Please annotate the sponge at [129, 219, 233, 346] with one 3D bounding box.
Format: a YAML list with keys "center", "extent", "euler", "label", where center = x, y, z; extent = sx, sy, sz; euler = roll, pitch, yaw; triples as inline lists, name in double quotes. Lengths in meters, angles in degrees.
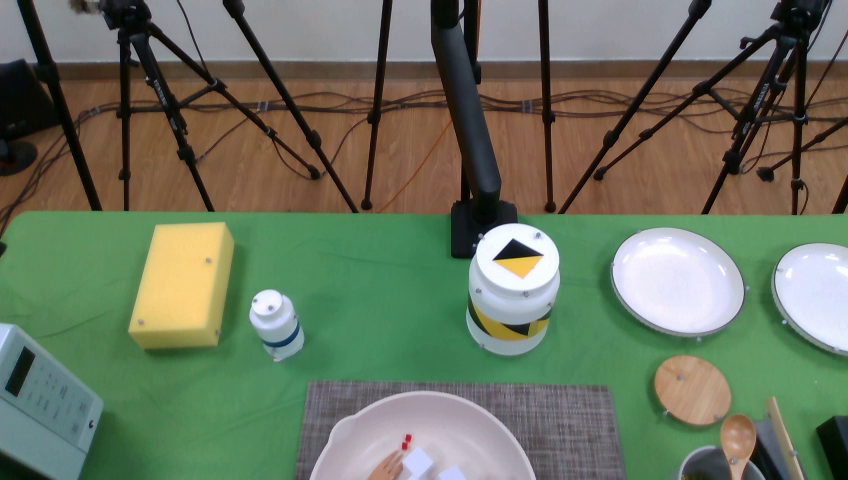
- center: [-0.391, 0.066, 0.991]
  extent: [0.118, 0.061, 0.204]
  euler: [-3, 55, -2]
  label: "sponge"

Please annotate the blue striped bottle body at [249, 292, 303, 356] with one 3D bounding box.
- center: [-0.223, 0.121, 0.912]
  extent: [0.063, 0.122, 0.062]
  euler: [-1, 54, 1]
  label: "blue striped bottle body"

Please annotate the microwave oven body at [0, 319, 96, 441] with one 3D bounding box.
- center: [-0.636, 0.332, 0.677]
  extent: [0.326, 0.262, 0.437]
  euler: [1, 55, 2]
  label: "microwave oven body"

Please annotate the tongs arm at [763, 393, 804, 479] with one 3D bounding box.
- center: [0.496, 0.374, 0.724]
  extent: [0.051, 0.027, 0.381]
  euler: [-4, 66, -6]
  label: "tongs arm"

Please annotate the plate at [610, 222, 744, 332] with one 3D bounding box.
- center: [0.409, 0.063, 0.993]
  extent: [0.208, 0.039, 0.205]
  euler: [-1, 54, 1]
  label: "plate"

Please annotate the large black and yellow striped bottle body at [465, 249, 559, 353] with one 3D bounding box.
- center: [0.128, 0.073, 0.902]
  extent: [0.131, 0.185, 0.129]
  euler: [-1, 54, 1]
  label: "large black and yellow striped bottle body"

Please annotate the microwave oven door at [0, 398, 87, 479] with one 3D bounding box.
- center: [-0.492, 0.366, 0.643]
  extent: [0.039, 0.246, 0.352]
  euler: [1, 54, 2]
  label: "microwave oven door"

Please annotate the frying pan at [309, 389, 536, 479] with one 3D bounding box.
- center: [-0.072, 0.393, 0.719]
  extent: [0.304, 0.103, 0.487]
  euler: [36, 54, 25]
  label: "frying pan"

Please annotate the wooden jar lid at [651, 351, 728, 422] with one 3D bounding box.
- center: [0.390, 0.217, 0.893]
  extent: [0.108, 0.021, 0.107]
  euler: [-1, 56, 1]
  label: "wooden jar lid"

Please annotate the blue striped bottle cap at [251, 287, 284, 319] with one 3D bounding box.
- center: [-0.225, 0.090, 0.871]
  extent: [0.044, 0.021, 0.044]
  euler: [0, 56, 1]
  label: "blue striped bottle cap"

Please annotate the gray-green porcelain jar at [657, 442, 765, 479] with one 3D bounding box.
- center: [0.347, 0.322, 0.752]
  extent: [0.106, 0.127, 0.105]
  euler: [0, 54, 1]
  label: "gray-green porcelain jar"

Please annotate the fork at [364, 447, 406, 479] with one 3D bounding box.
- center: [-0.096, 0.333, 0.774]
  extent: [0.028, 0.019, 0.207]
  euler: [41, 40, 19]
  label: "fork"

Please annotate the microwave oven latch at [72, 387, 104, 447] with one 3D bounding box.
- center: [-0.479, 0.249, 0.853]
  extent: [0.030, 0.030, 0.078]
  euler: [3, 55, 3]
  label: "microwave oven latch"

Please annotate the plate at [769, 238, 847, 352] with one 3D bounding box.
- center: [0.657, 0.090, 0.967]
  extent: [0.209, 0.038, 0.207]
  euler: [-1, 54, 1]
  label: "plate"

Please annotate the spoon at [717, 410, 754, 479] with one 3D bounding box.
- center: [0.351, 0.288, 0.690]
  extent: [0.041, 0.022, 0.192]
  euler: [16, 60, 8]
  label: "spoon"

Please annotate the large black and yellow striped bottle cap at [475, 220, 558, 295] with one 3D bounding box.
- center: [0.127, 0.022, 0.834]
  extent: [0.115, 0.019, 0.114]
  euler: [-1, 55, 1]
  label: "large black and yellow striped bottle cap"
